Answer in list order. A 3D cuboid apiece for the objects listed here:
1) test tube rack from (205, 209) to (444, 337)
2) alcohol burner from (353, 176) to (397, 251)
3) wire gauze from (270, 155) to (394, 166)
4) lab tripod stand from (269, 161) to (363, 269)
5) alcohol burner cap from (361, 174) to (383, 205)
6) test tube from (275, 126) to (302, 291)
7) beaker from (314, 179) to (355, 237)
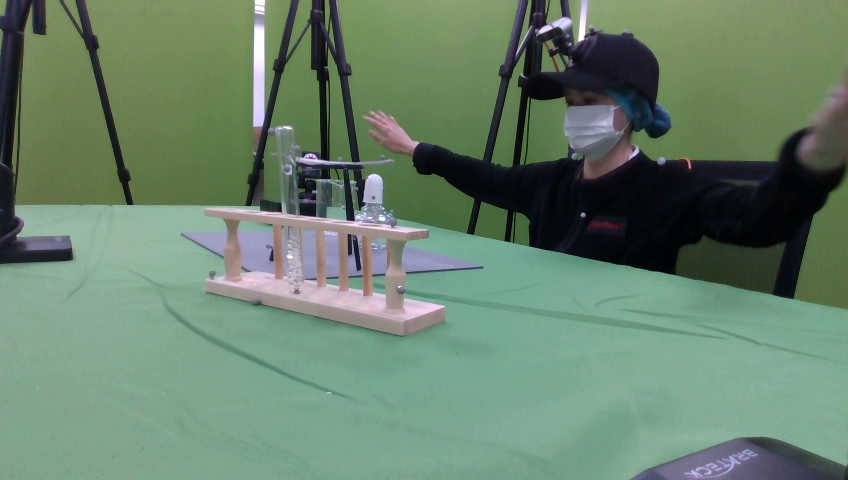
[{"bbox_3d":[-0.100,0.021,0.565,0.241,0.085,0.067,7,9,32],"label":"test tube rack"},{"bbox_3d":[-0.082,-0.043,0.950,0.078,0.119,0.078,1,8,0],"label":"alcohol burner"},{"bbox_3d":[-0.121,-0.102,0.785,0.122,0.011,0.124,-3,10,-39],"label":"wire gauze"},{"bbox_3d":[-0.125,-0.036,0.794,0.148,0.131,0.148,5,7,0],"label":"lab tripod stand"},{"bbox_3d":[-0.080,-0.078,0.944,0.034,0.048,0.034,5,8,0],"label":"alcohol burner cap"},{"bbox_3d":[-0.123,-0.028,0.552,0.017,0.150,0.017,-2,7,1],"label":"test tube"},{"bbox_3d":[-0.162,-0.058,1.094,0.074,0.100,0.083,0,9,-21],"label":"beaker"}]
